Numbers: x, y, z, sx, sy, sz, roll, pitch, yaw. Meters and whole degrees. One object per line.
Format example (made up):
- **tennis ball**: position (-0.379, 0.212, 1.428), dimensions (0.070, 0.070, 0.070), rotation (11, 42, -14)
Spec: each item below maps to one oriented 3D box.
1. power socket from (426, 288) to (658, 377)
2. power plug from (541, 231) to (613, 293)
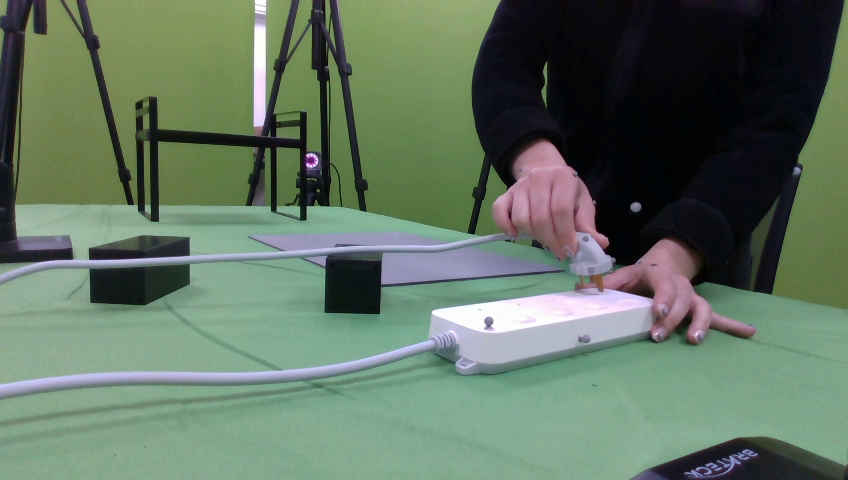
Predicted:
- **power socket**: position (0.101, 0.066, 0.481), dimensions (0.228, 0.032, 0.072), rotation (-4, 9, -37)
- **power plug**: position (0.141, 0.017, 0.548), dimensions (0.035, 0.052, 0.072), rotation (-15, 15, -15)
